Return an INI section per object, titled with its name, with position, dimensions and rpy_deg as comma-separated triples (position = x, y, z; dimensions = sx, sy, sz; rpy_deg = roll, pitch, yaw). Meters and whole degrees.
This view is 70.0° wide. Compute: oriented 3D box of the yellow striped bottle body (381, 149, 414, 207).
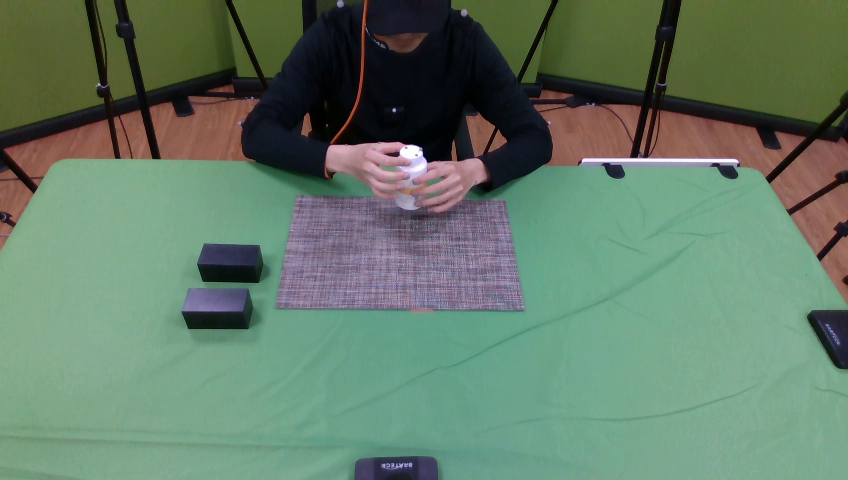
[yellow striped bottle body]
position = -0.051, -0.124, 1.188
dimensions = 0.063, 0.121, 0.062
rpy_deg = 1, 56, -1

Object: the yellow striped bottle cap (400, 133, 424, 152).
[yellow striped bottle cap]
position = -0.023, -0.182, 1.133
dimensions = 0.044, 0.019, 0.044
rpy_deg = -3, 37, 2
